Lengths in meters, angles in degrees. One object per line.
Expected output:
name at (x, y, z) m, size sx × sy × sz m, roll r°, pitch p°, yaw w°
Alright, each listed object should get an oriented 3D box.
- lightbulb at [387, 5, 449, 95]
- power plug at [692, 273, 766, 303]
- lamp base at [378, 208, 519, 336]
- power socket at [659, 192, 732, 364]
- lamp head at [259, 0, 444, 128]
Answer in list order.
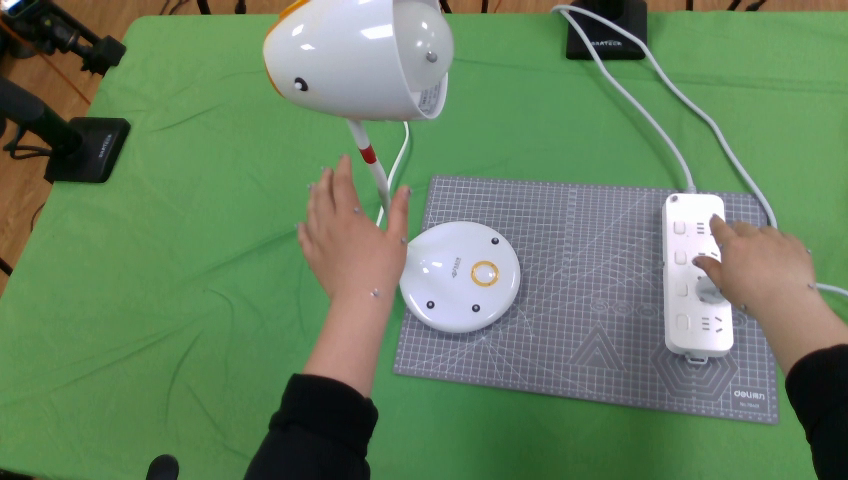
lightbulb at (-0.035, -0.133, 0.432) m, size 0.107 × 0.060 × 0.059 m, roll 3°, pitch 64°, yaw 21°
power plug at (0.354, 0.062, 0.713) m, size 0.072 × 0.053 × 0.035 m, roll 14°, pitch 69°, yaw 12°
lamp base at (0.019, 0.015, 0.733) m, size 0.179 × 0.182 × 0.159 m, roll -2°, pitch 63°, yaw 13°
power socket at (0.333, 0.039, 0.749) m, size 0.072 × 0.033 × 0.225 m, roll 3°, pitch 64°, yaw 11°
lamp head at (-0.055, -0.133, 0.447) m, size 0.122 × 0.113 × 0.111 m, roll -7°, pitch 62°, yaw 24°
